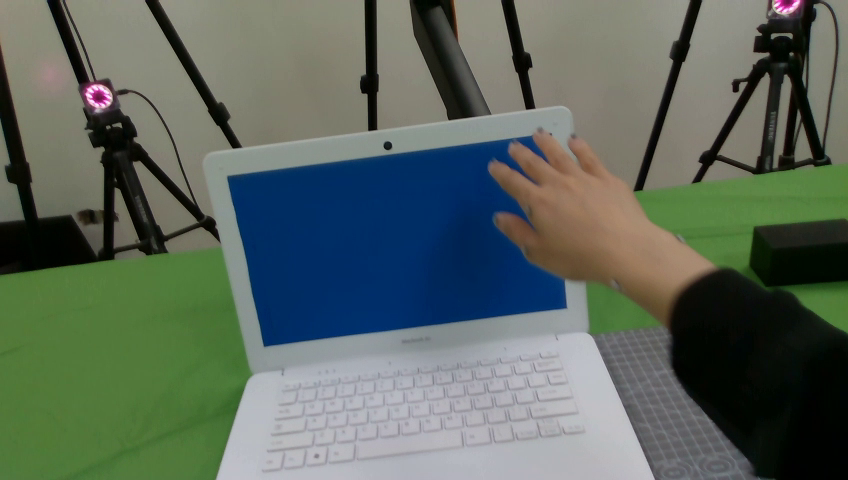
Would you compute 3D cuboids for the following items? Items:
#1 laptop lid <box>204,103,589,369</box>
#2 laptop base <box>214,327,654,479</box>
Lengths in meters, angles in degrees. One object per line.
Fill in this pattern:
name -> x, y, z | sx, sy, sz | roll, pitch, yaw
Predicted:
laptop lid -> -0.021, 0.005, 0.597 | 0.357, 0.242, 0.013 | -9, 15, 2
laptop base -> -0.002, 0.175, 0.524 | 0.354, 0.023, 0.233 | -7, 32, 2
